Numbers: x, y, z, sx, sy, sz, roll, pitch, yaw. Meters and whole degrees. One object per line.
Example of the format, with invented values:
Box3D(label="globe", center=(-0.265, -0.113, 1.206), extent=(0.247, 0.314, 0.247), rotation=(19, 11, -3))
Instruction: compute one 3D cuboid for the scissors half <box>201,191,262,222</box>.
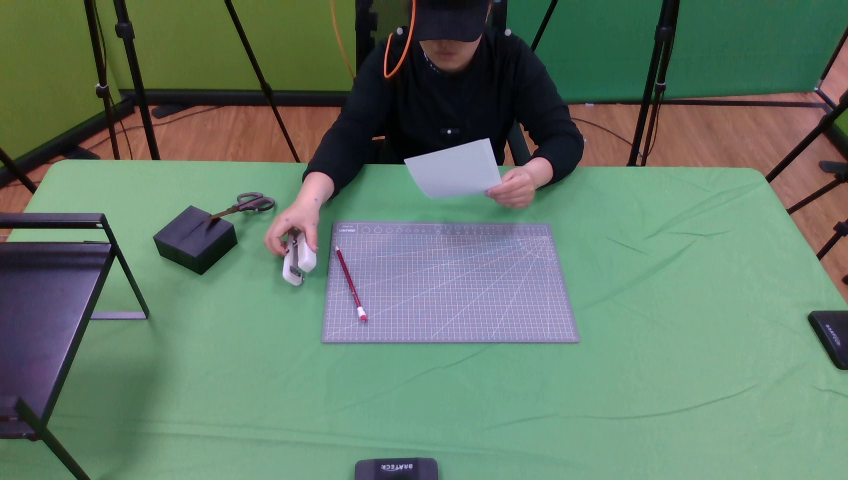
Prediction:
Box3D(label="scissors half", center=(-0.381, -0.066, 1.198), extent=(0.040, 0.013, 0.175), rotation=(25, 28, 9))

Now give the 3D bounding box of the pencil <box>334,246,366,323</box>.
Box3D(label="pencil", center=(-0.140, 0.077, 1.116), extent=(0.012, 0.012, 0.192), rotation=(-14, 48, -17))

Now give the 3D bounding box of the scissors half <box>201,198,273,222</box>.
Box3D(label="scissors half", center=(-0.365, -0.055, 1.192), extent=(0.040, 0.013, 0.175), rotation=(39, 32, 22))

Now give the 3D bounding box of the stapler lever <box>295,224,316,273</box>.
Box3D(label="stapler lever", center=(-0.221, 0.013, 1.129), extent=(0.040, 0.027, 0.117), rotation=(-32, 41, 23))

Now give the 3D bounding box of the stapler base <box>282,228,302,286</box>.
Box3D(label="stapler base", center=(-0.239, 0.026, 1.138), extent=(0.024, 0.041, 0.129), rotation=(-32, 41, 22))
